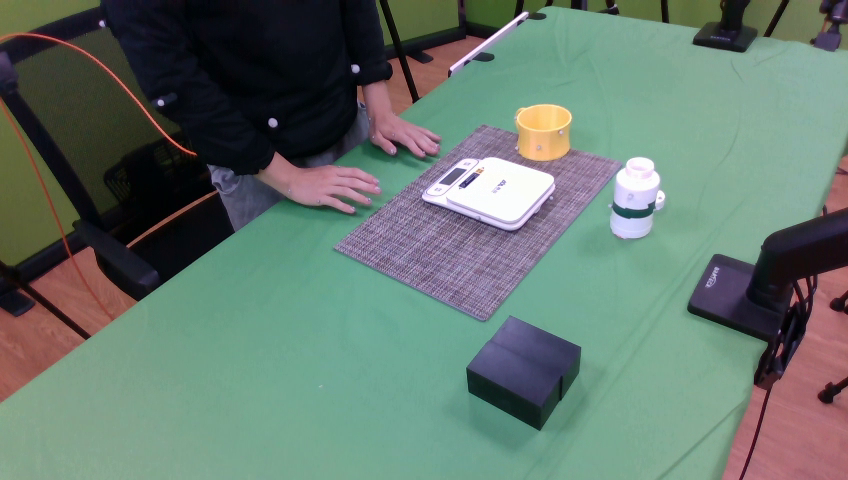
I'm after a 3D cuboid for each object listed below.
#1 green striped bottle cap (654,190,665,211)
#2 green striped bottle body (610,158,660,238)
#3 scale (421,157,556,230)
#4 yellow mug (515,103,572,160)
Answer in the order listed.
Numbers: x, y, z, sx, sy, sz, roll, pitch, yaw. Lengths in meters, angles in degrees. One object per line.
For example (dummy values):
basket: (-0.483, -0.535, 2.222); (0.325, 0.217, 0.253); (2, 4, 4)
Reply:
green striped bottle cap: (0.375, -0.066, 0.998); (0.044, 0.020, 0.044); (-8, 37, 7)
green striped bottle body: (0.323, -0.066, 0.923); (0.063, 0.120, 0.063); (-4, 41, 4)
scale: (0.110, -0.089, 1.042); (0.199, 0.032, 0.149); (23, 48, 31)
yellow mug: (0.216, -0.211, 1.143); (0.100, 0.064, 0.129); (-27, 44, -22)
